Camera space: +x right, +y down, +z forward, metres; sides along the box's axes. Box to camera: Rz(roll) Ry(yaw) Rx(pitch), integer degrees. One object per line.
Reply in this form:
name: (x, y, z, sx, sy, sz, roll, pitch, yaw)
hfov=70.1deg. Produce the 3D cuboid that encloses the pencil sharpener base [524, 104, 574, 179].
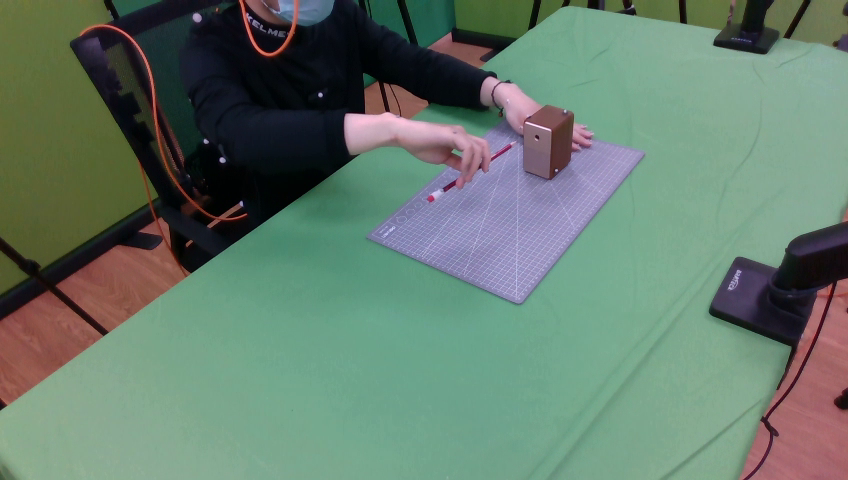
pencil sharpener base: (0.222, -0.176, 1.071, 0.061, 0.107, 0.077, 26, 50, 33)

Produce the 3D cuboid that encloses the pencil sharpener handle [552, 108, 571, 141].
pencil sharpener handle: (0.254, -0.212, 1.091, 0.035, 0.068, 0.031, 27, 51, 33)

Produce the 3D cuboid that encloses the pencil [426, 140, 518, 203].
pencil: (0.079, -0.111, 0.946, 0.194, 0.012, 0.012, -35, 48, -22)
